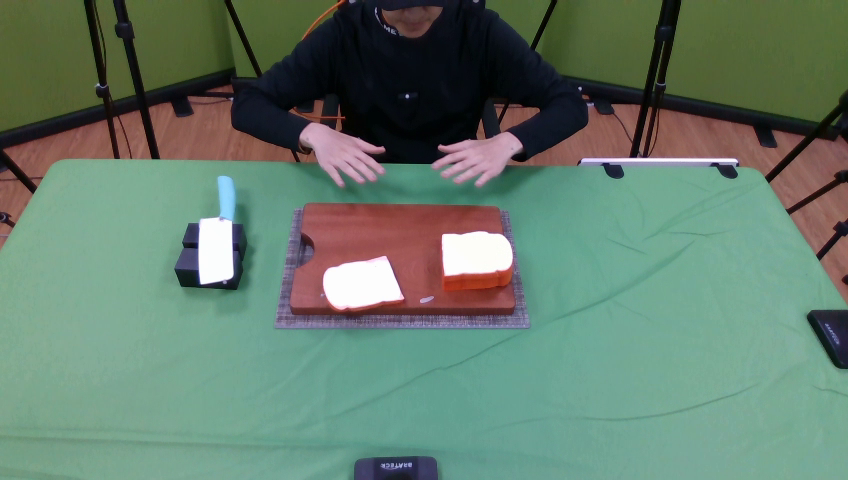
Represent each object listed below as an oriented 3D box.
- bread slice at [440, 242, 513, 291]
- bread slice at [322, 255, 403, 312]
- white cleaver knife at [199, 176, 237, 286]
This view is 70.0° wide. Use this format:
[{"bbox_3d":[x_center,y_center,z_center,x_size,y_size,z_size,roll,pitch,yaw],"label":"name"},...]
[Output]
[{"bbox_3d":[0.096,0.047,1.116,0.134,0.018,0.106,0,50,2],"label":"bread slice"},{"bbox_3d":[-0.114,0.080,1.068,0.132,0.019,0.104,-10,51,-18],"label":"bread slice"},{"bbox_3d":[-0.386,-0.026,1.134,0.066,0.021,0.284,-6,45,-10],"label":"white cleaver knife"}]
